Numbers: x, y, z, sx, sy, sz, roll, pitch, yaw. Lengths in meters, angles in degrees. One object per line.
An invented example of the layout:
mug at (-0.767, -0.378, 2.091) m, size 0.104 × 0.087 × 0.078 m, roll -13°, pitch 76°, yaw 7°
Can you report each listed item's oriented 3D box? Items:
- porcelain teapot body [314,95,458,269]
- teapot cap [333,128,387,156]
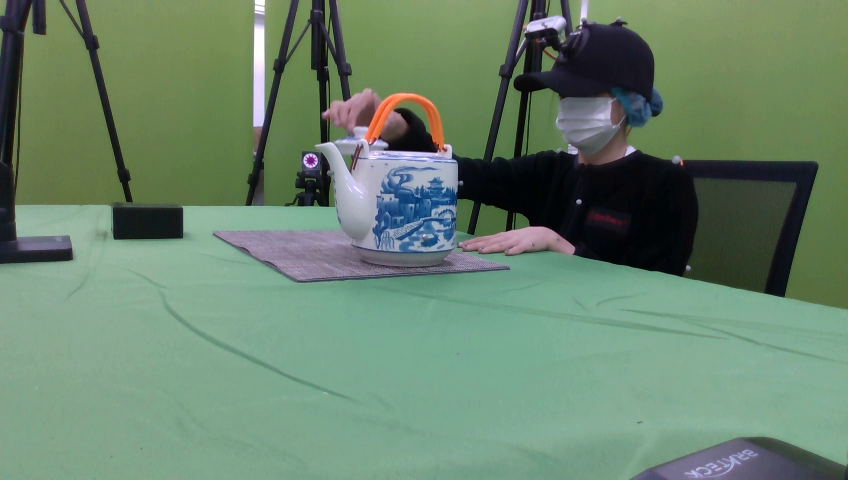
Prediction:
porcelain teapot body at (-0.049, -0.079, 0.800) m, size 0.206 × 0.225 × 0.144 m, roll -3°, pitch 9°, yaw -37°
teapot cap at (-0.097, -0.148, 0.917) m, size 0.085 × 0.044 × 0.085 m, roll 3°, pitch 10°, yaw 0°
